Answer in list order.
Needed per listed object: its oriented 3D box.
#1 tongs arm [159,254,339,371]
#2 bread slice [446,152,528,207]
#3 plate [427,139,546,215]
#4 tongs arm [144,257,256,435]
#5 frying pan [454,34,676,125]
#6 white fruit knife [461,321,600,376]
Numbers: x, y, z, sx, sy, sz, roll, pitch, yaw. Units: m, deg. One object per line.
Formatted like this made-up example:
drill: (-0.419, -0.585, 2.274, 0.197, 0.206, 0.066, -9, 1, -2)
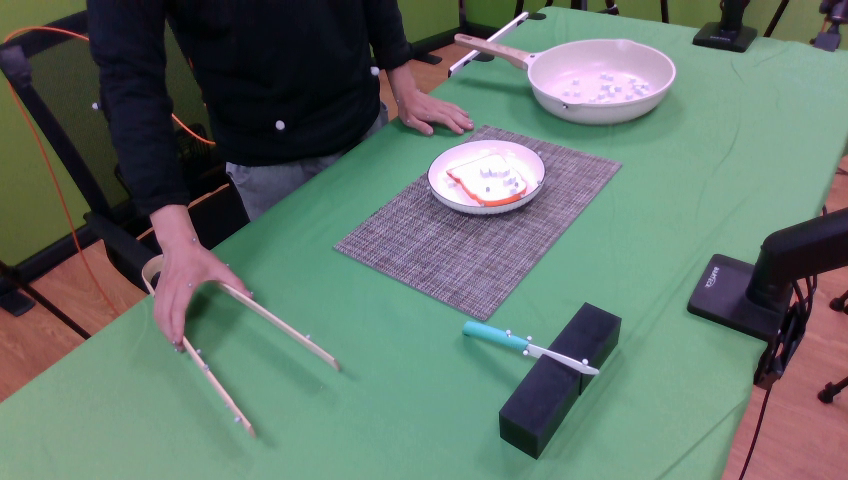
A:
tongs arm: (-0.260, 0.094, 0.867, 0.384, 0.028, 0.028, 24, 54, 32)
bread slice: (0.118, -0.104, 1.057, 0.107, 0.018, 0.133, -24, 42, -17)
plate: (0.109, -0.106, 1.058, 0.207, 0.039, 0.206, -4, 40, 4)
tongs arm: (-0.310, 0.129, 0.833, 0.051, 0.026, 0.381, -35, 47, -26)
frying pan: (0.277, -0.370, 1.295, 0.485, 0.103, 0.307, 26, 49, 22)
white fruit knife: (0.126, 0.133, 0.752, 0.205, 0.027, 0.016, 12, 44, 42)
